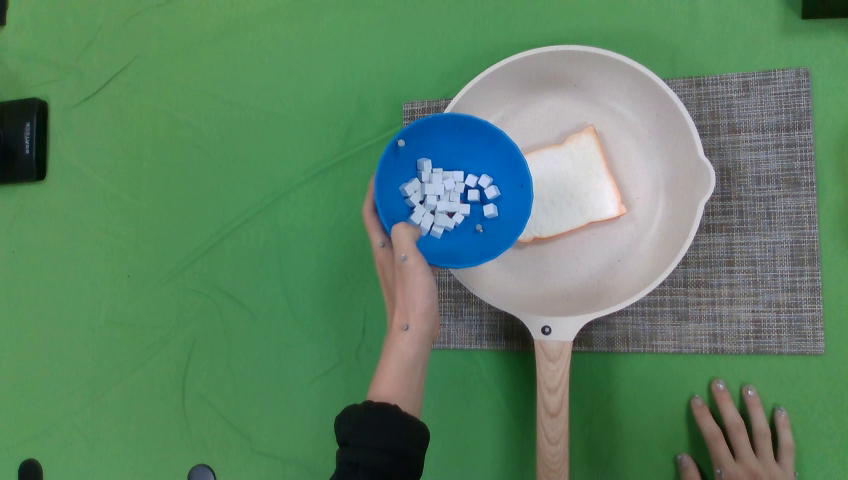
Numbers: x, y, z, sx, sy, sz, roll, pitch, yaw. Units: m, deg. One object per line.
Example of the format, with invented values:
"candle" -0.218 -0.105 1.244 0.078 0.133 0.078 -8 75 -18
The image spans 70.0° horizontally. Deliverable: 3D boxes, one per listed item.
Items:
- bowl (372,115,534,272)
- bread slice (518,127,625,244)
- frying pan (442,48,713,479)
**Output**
"bowl" 0.024 -0.037 0.592 0.151 0.077 0.150 1 78 -6
"bread slice" 0.146 -0.052 0.685 0.134 0.018 0.106 -23 81 9
"frying pan" 0.137 0.044 0.639 0.306 0.103 0.485 1 77 15
